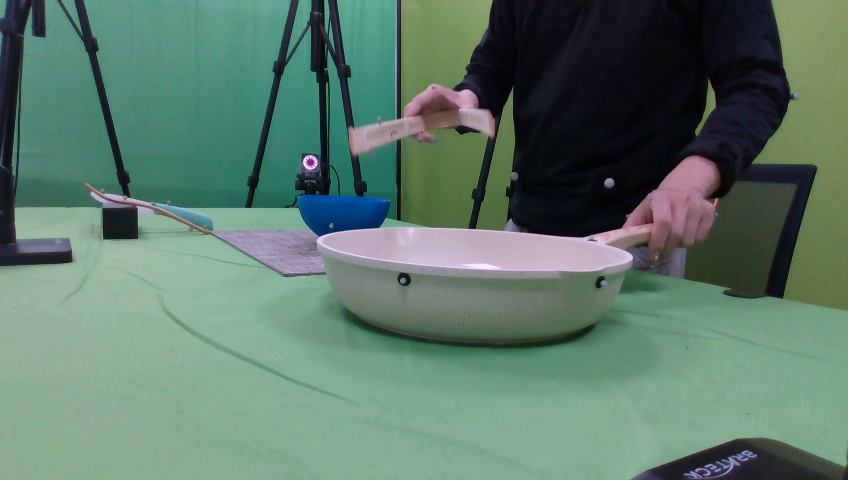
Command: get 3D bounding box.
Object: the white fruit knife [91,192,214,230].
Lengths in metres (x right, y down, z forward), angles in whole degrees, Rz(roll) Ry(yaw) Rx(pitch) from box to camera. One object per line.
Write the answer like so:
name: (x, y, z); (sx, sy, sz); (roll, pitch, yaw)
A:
white fruit knife: (-0.477, -0.055, 1.077); (0.208, 0.027, 0.016); (15, -5, -30)

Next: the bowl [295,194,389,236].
bowl: (-0.132, -0.032, 0.980); (0.151, 0.077, 0.151); (2, 7, 0)

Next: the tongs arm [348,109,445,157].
tongs arm: (-0.021, -0.144, 0.779); (0.050, 0.026, 0.385); (-8, 13, 11)

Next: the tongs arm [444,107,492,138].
tongs arm: (0.053, -0.153, 0.770); (0.028, 0.028, 0.387); (-14, 13, 1)

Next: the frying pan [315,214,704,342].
frying pan: (0.133, 0.014, 0.629); (0.490, 0.102, 0.305); (-11, 14, -29)

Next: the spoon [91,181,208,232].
spoon: (-0.461, -0.053, 1.023); (0.195, 0.021, 0.041); (21, 24, -24)
